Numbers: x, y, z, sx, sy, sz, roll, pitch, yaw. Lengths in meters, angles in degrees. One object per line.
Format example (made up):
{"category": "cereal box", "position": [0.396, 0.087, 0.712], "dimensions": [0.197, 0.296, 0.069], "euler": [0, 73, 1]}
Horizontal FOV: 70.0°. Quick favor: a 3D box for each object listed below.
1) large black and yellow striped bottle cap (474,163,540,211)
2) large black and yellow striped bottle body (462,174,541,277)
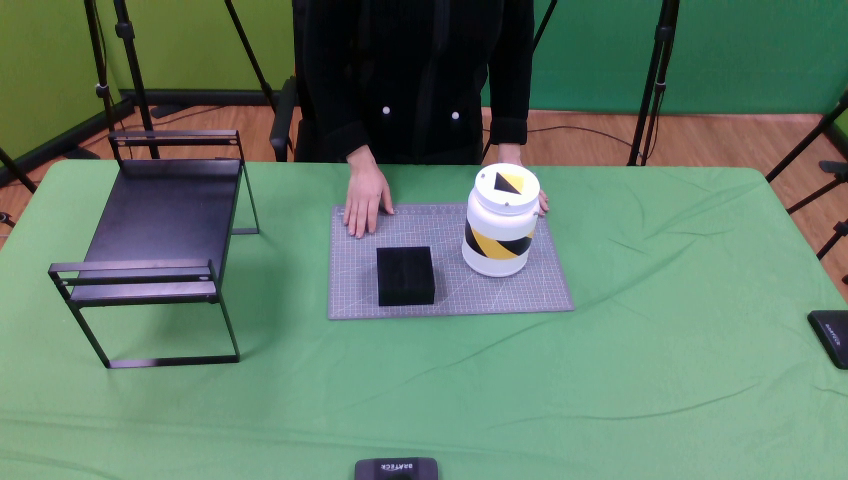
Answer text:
{"category": "large black and yellow striped bottle cap", "position": [0.146, -0.095, 1.064], "dimensions": [0.115, 0.019, 0.114], "euler": [3, 46, -3]}
{"category": "large black and yellow striped bottle body", "position": [0.143, -0.035, 1.124], "dimensions": [0.131, 0.185, 0.130], "euler": [2, 46, -2]}
